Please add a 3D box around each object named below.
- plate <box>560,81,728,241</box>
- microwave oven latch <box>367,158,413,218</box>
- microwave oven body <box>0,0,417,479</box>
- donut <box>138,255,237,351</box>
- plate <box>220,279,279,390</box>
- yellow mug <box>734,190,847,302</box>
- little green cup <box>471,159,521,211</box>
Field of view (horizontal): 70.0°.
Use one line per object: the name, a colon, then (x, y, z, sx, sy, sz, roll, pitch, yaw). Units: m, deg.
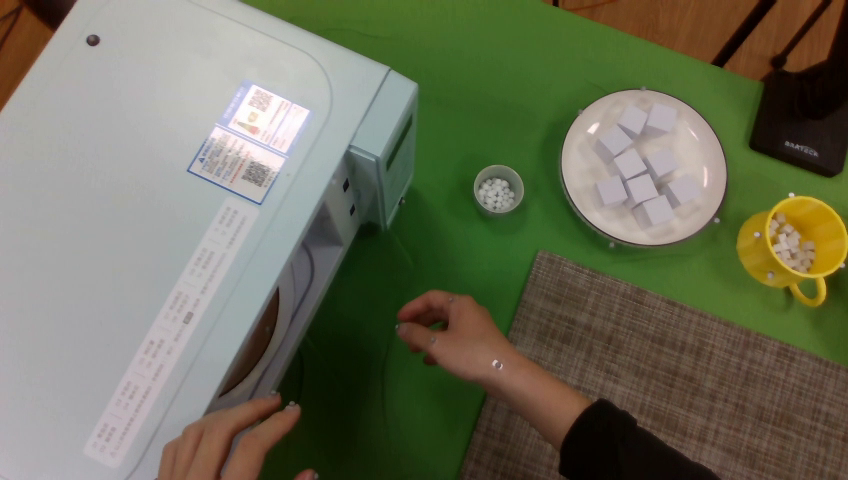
plate: (0.270, -0.097, 0.759, 0.208, 0.039, 0.206, 1, 77, -2)
microwave oven latch: (-0.040, -0.068, 0.719, 0.030, 0.029, 0.079, 28, 79, 3)
microwave oven body: (-0.245, 0.007, 0.595, 0.326, 0.261, 0.440, 25, 78, 3)
donut: (-0.241, 0.064, 0.622, 0.099, 0.048, 0.098, 1, 80, -3)
plate: (-0.256, 0.065, 0.636, 0.209, 0.038, 0.208, 1, 77, -3)
yellow mug: (0.445, 0.011, 0.729, 0.100, 0.064, 0.130, -15, 79, -6)
little green cup: (0.087, -0.065, 0.743, 0.061, 0.039, 0.061, 0, 79, -2)
